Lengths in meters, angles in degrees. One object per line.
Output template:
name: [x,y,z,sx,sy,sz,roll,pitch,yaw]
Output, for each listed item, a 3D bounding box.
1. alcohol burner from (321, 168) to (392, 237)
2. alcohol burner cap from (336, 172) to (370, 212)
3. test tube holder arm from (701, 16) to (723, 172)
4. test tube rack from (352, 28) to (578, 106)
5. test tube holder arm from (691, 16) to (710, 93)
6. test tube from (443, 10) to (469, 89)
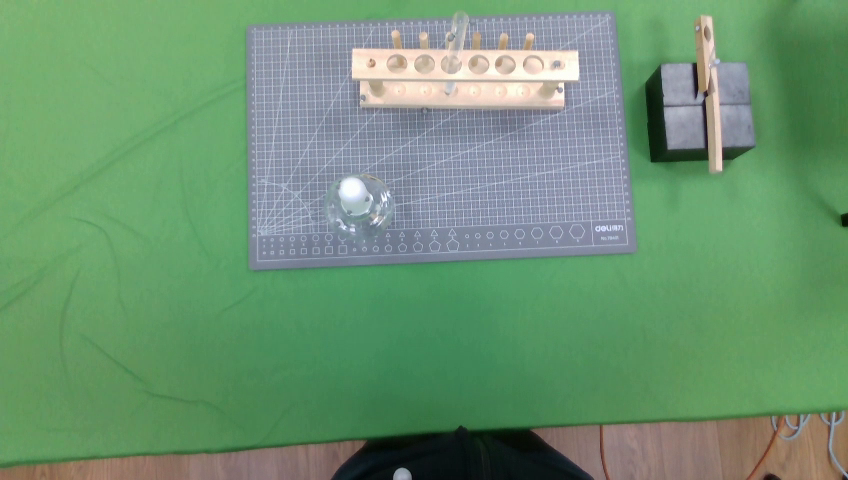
alcohol burner: [-0.074,-0.045,0.653,0.078,0.119,0.077,0,80,-2]
alcohol burner cap: [-0.074,-0.051,0.617,0.034,0.048,0.033,0,76,2]
test tube holder arm: [0.320,-0.164,0.678,0.013,0.015,0.178,-2,83,-8]
test tube rack: [0.044,-0.200,0.690,0.242,0.085,0.066,1,82,-1]
test tube holder arm: [0.312,-0.209,0.683,0.010,0.015,0.087,-1,83,-8]
test tube: [0.032,-0.196,0.638,0.017,0.150,0.017,0,79,-2]
